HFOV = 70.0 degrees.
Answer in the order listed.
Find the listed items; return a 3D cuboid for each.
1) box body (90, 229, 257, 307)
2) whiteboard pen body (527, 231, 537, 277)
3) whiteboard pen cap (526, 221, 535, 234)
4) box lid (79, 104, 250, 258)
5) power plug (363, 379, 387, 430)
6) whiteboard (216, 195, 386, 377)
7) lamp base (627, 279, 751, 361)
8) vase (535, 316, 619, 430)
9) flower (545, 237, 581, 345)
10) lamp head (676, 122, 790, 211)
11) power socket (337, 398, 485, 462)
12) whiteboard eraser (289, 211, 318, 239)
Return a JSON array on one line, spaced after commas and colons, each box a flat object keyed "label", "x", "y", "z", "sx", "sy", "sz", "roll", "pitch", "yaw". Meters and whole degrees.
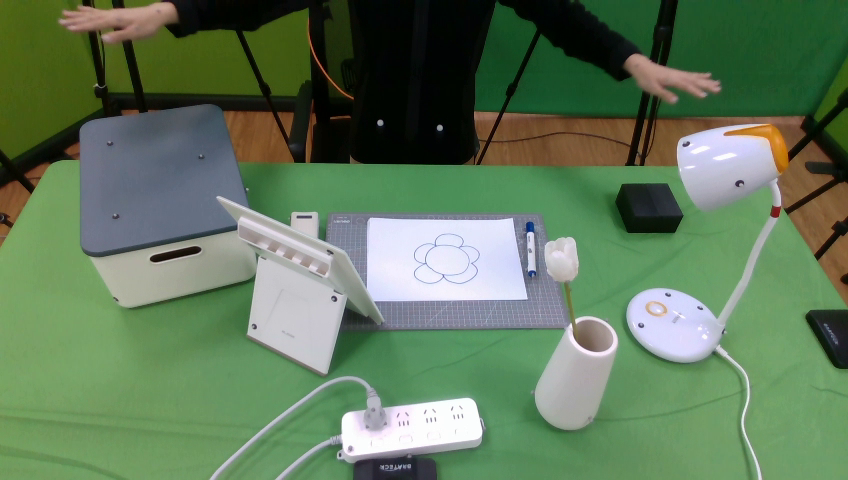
[{"label": "box body", "x": -0.471, "y": -0.070, "z": 1.131, "sx": 0.254, "sy": 0.161, "sz": 0.361, "roll": -14, "pitch": 49, "yaw": -17}, {"label": "whiteboard pen body", "x": 0.211, "y": 0.018, "z": 1.191, "sx": 0.017, "sy": 0.017, "sz": 0.140, "roll": 6, "pitch": 44, "yaw": 2}, {"label": "whiteboard pen cap", "x": 0.216, "y": -0.022, "z": 1.234, "sx": 0.018, "sy": 0.018, "sz": 0.033, "roll": 6, "pitch": 44, "yaw": 1}, {"label": "box lid", "x": -0.467, "y": -0.121, "z": 1.075, "sx": 0.264, "sy": 0.015, "sz": 0.369, "roll": -13, "pitch": 49, "yaw": -17}, {"label": "power plug", "x": -0.071, "y": 0.252, "z": 0.911, "sx": 0.035, "sy": 0.053, "sz": 0.072, "roll": 3, "pitch": 40, "yaw": 0}, {"label": "whiteboard", "x": -0.212, "y": 0.094, "z": 0.938, "sx": 0.216, "sy": 0.307, "sz": 0.143, "roll": 24, "pitch": 70, "yaw": 17}, {"label": "lamp base", "x": 0.460, "y": 0.100, "z": 1.027, "sx": 0.178, "sy": 0.181, "sz": 0.160, "roll": 27, "pitch": 51, "yaw": 17}, {"label": "vase", "x": 0.229, "y": 0.200, "z": 0.901, "sx": 0.098, "sy": 0.201, "sz": 0.097, "roll": 3, "pitch": 46, "yaw": -3}, {"label": "flower", "x": 0.213, "y": 0.137, "z": 0.846, "sx": 0.038, "sy": 0.364, "sz": 0.044, "roll": 21, "pitch": 55, "yaw": 40}, {"label": "lamp head", "x": 0.423, "y": -0.104, "z": 0.819, "sx": 0.122, "sy": 0.113, "sz": 0.112, "roll": -13, "pitch": 33, "yaw": 40}, {"label": "power socket", "x": -0.018, "y": 0.285, "z": 0.914, "sx": 0.227, "sy": 0.033, "sz": 0.071, "roll": -4, "pitch": 46, "yaw": -8}, {"label": "whiteboard eraser", "x": -0.234, "y": -0.007, "z": 1.172, "sx": 0.055, "sy": 0.042, "sz": 0.112, "roll": -3, "pitch": 47, "yaw": -5}]
